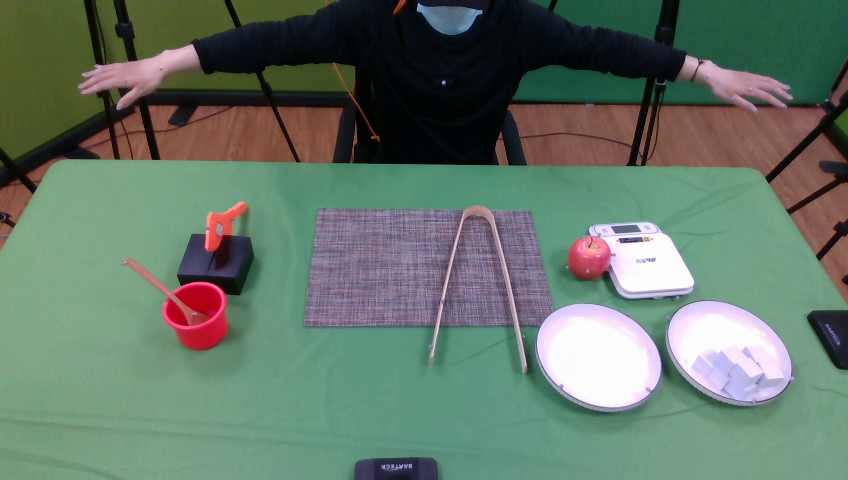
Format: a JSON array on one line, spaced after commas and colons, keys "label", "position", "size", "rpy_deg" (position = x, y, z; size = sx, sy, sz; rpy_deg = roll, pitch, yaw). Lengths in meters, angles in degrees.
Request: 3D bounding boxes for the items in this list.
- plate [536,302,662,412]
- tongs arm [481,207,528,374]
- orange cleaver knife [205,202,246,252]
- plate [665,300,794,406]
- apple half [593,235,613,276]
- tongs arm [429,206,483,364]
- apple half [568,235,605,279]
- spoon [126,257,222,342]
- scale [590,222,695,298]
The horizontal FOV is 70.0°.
[{"label": "plate", "position": [0.288, 0.197, 1.016], "size": [0.209, 0.038, 0.208], "rpy_deg": [2, 46, -2]}, {"label": "tongs arm", "position": [0.149, 0.077, 1.124], "size": [0.028, 0.028, 0.385], "rpy_deg": [-4, 46, -2]}, {"label": "orange cleaver knife", "position": [-0.374, -0.029, 1.150], "size": [0.012, 0.077, 0.211], "rpy_deg": [4, 13, 0]}, {"label": "plate", "position": [0.513, 0.194, 1.034], "size": [0.208, 0.039, 0.206], "rpy_deg": [2, 46, -2]}, {"label": "apple half", "position": [0.340, 0.029, 1.155], "size": [0.033, 0.082, 0.080], "rpy_deg": [-10, 47, -8]}, {"label": "tongs arm", "position": [0.064, 0.069, 1.124], "size": [0.051, 0.026, 0.382], "rpy_deg": [8, 45, 5]}, {"label": "apple half", "position": [0.302, 0.035, 1.148], "size": [0.053, 0.075, 0.080], "rpy_deg": [-9, 51, -8]}, {"label": "spoon", "position": [-0.408, 0.096, 0.990], "size": [0.194, 0.021, 0.041], "rpy_deg": [50, 53, -18]}, {"label": "scale", "position": [0.424, 0.031, 1.189], "size": [0.149, 0.032, 0.199], "rpy_deg": [-3, 46, -7]}]
